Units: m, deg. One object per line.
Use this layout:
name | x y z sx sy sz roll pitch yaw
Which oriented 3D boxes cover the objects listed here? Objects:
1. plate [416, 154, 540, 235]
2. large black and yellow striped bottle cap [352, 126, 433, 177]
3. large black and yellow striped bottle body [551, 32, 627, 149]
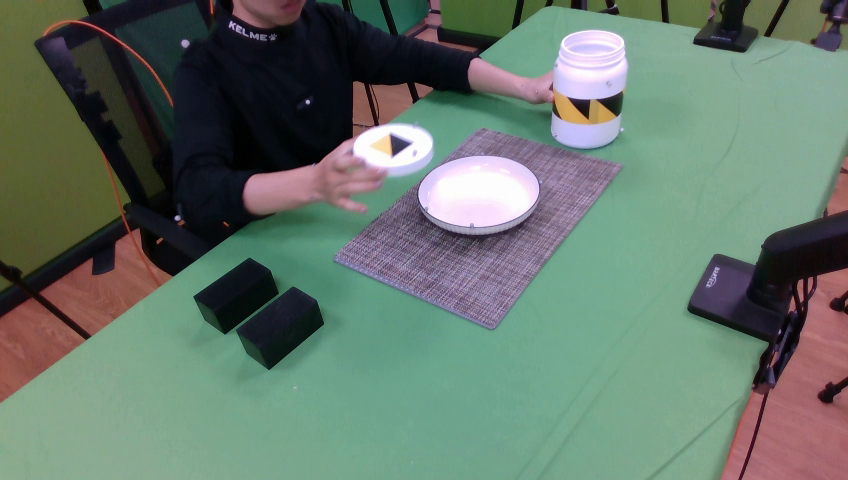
plate | 0.090 -0.074 1.025 0.207 0.039 0.206 -4 41 4
large black and yellow striped bottle cap | -0.044 -0.129 0.866 0.115 0.019 0.114 -2 39 2
large black and yellow striped bottle body | 0.305 -0.278 1.125 0.131 0.185 0.130 -4 41 4
